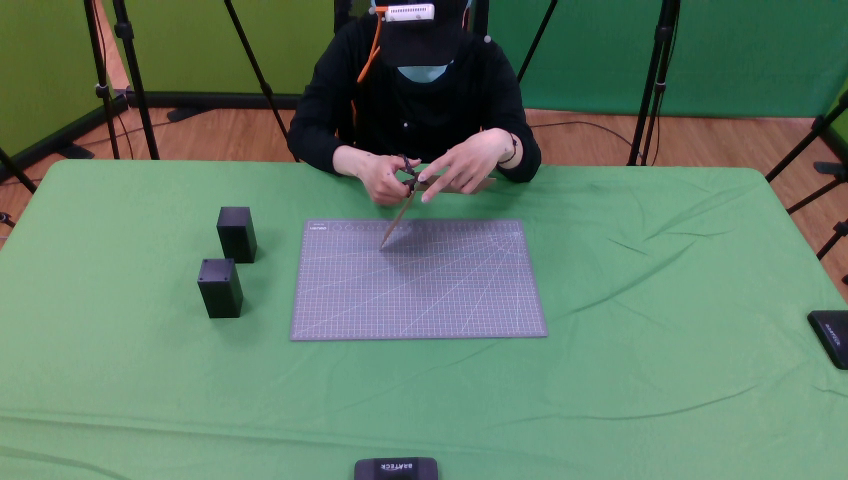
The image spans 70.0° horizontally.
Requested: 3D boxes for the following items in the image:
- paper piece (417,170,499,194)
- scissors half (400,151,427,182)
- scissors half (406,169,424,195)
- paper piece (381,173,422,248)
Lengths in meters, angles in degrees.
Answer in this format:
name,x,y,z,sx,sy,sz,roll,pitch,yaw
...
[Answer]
name,x,y,z,sx,sy,sz,roll,pitch,yaw
paper piece,0.060,-0.109,1.174,0.138,0.136,0.008,-5,82,-13
scissors half,-0.021,-0.137,1.161,0.013,0.040,0.174,-22,27,-8
scissors half,-0.015,-0.116,1.165,0.013,0.175,0.040,-17,86,-9
paper piece,-0.044,-0.054,1.137,0.004,0.135,0.135,31,74,2
